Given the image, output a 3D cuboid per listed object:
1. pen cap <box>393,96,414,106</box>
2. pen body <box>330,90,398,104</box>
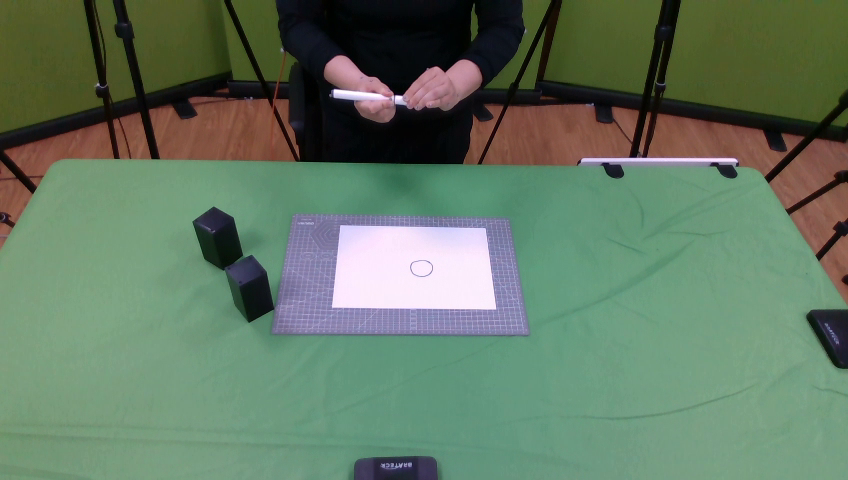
[{"bbox_3d":[-0.038,-0.256,1.114,0.038,0.017,0.017,-4,46,2],"label":"pen cap"},{"bbox_3d":[-0.100,-0.262,1.111,0.144,0.017,0.017,5,45,-2],"label":"pen body"}]
